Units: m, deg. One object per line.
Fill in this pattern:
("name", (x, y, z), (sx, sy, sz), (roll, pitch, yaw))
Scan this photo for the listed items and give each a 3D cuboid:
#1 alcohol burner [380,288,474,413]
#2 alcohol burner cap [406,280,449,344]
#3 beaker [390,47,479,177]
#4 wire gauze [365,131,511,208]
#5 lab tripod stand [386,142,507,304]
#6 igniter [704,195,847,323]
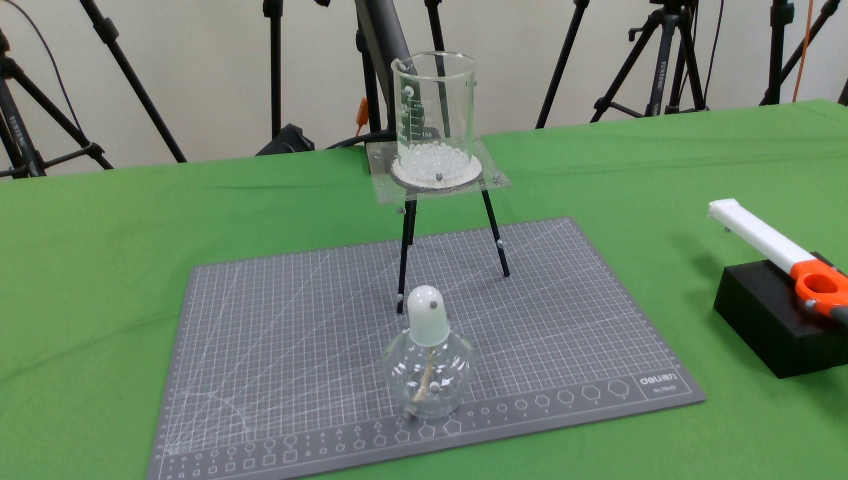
("alcohol burner", (0.002, 0.081, 0.484), (0.078, 0.120, 0.077), (0, 37, 1))
("alcohol burner cap", (0.002, 0.052, 0.464), (0.034, 0.048, 0.033), (-3, 39, 3))
("beaker", (0.007, -0.115, 0.549), (0.074, 0.101, 0.083), (-29, 43, -35))
("wire gauze", (0.008, -0.074, 0.575), (0.121, 0.011, 0.123), (-8, 37, -7))
("lab tripod stand", (0.015, -0.022, 0.616), (0.148, 0.132, 0.147), (0, 33, 1))
("igniter", (0.346, 0.027, 0.545), (0.057, 0.025, 0.273), (-9, 32, -9))
